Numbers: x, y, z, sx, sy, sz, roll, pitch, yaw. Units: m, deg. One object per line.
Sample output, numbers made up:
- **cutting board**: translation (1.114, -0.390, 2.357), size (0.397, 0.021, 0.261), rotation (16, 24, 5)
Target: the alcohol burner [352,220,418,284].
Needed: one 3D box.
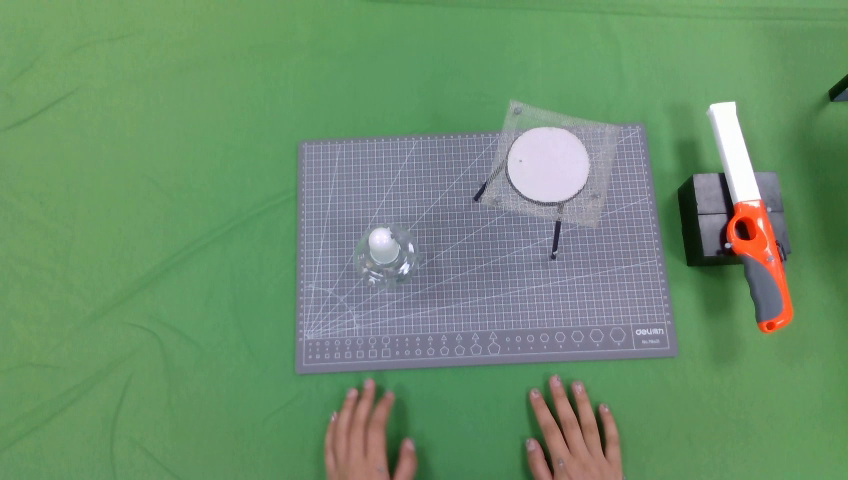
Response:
- **alcohol burner**: translation (-0.047, 0.010, 0.691), size (0.078, 0.119, 0.077), rotation (0, 77, 2)

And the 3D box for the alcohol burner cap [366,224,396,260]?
- **alcohol burner cap**: translation (-0.048, -0.001, 0.656), size (0.034, 0.048, 0.033), rotation (0, 68, 1)

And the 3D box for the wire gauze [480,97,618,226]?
- **wire gauze**: translation (0.132, -0.083, 0.632), size (0.121, 0.011, 0.124), rotation (16, 75, 5)

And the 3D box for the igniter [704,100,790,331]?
- **igniter**: translation (0.367, -0.034, 0.693), size (0.057, 0.025, 0.274), rotation (-6, 73, 2)

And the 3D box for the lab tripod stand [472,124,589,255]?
- **lab tripod stand**: translation (0.131, -0.068, 0.697), size (0.148, 0.132, 0.147), rotation (0, 73, 2)
